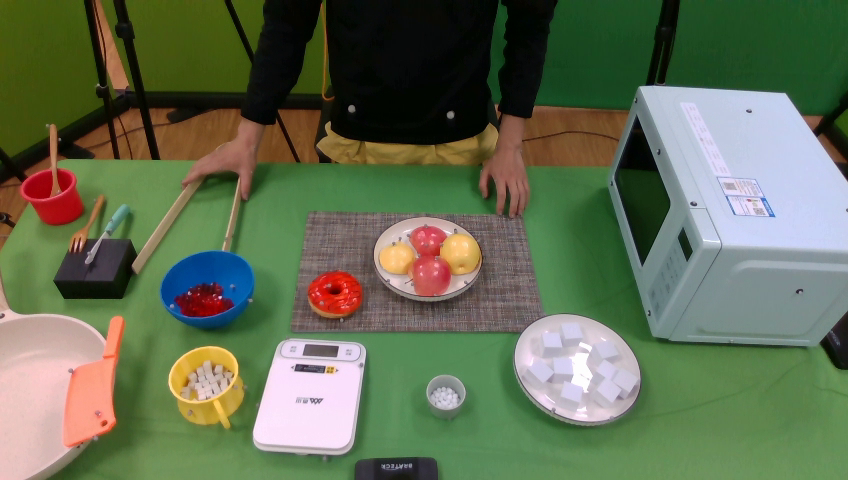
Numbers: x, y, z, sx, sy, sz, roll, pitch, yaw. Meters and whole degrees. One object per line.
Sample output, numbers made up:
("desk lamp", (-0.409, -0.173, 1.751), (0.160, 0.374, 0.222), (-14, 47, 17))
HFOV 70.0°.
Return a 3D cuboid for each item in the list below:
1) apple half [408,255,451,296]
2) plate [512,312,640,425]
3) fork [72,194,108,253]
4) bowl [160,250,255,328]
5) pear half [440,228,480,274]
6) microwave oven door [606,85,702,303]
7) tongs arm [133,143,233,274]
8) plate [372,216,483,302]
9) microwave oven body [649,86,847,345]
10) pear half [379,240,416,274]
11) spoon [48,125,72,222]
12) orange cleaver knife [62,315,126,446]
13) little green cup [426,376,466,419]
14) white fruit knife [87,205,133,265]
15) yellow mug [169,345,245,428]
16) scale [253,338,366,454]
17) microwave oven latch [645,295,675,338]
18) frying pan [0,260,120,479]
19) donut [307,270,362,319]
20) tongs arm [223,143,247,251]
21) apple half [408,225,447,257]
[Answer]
("apple half", (0.012, 0.058, 1.103), (0.075, 0.053, 0.080), (-6, 43, -13))
("plate", (0.246, 0.213, 0.999), (0.208, 0.039, 0.206), (2, 46, -2))
("fork", (-0.634, -0.036, 1.158), (0.028, 0.019, 0.206), (-8, 32, -8))
("bowl", (-0.362, 0.098, 1.040), (0.151, 0.077, 0.150), (2, 45, -2))
("pear half", (0.065, 0.007, 1.150), (0.076, 0.056, 0.109), (-11, 44, -1))
("microwave oven door", (0.422, -0.094, 1.140), (0.039, 0.245, 0.353), (2, 46, -1))
("tongs arm", (-0.483, -0.078, 1.234), (0.028, 0.028, 0.385), (5, 45, 11))
("plate", (0.006, 0.038, 1.145), (0.209, 0.038, 0.208), (2, 46, -2))
("microwave oven body", (0.567, -0.053, 1.118), (0.326, 0.261, 0.439), (2, 45, -1))
("pear half", (-0.048, 0.024, 1.146), (0.070, 0.031, 0.087), (11, 47, -12))
("spoon", (-0.718, -0.131, 1.189), (0.041, 0.021, 0.193), (-4, 90, -6))
("orange cleaver knife", (-0.480, 0.199, 0.887), (0.077, 0.012, 0.210), (-9, 47, -8))
("little green cup", (0.033, 0.248, 0.950), (0.061, 0.039, 0.061), (2, 46, -2))
("white fruit knife", (-0.584, -0.013, 1.129), (0.016, 0.027, 0.206), (-1, 32, -4))
("yellow mug", (-0.322, 0.230, 0.922), (0.100, 0.064, 0.130), (-24, 53, -25))
("scale", (-0.175, 0.236, 0.951), (0.149, 0.032, 0.199), (5, 45, -1))
("microwave oven latch", (0.411, 0.134, 1.061), (0.030, 0.029, 0.078), (3, 45, 0))
("frying pan", (-0.647, 0.164, 0.936), (0.307, 0.103, 0.485), (-19, 58, -22))
("donut", (-0.157, 0.097, 1.073), (0.099, 0.048, 0.098), (4, 45, -4))
("tongs arm", (-0.399, -0.074, 1.233), (0.051, 0.026, 0.382), (-2, 45, -1))
("apple half", (0.011, -0.006, 1.176), (0.081, 0.033, 0.081), (2, 53, -3))
